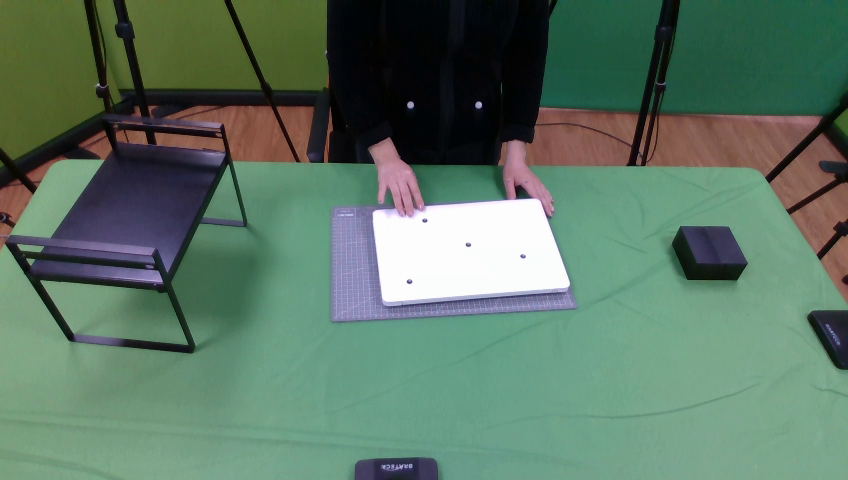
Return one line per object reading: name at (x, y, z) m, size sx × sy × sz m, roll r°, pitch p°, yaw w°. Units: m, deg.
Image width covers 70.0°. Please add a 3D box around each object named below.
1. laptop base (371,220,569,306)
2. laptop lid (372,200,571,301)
laptop base at (0.082, 0.027, 1.179) m, size 0.355 × 0.023 × 0.234 m, roll -4°, pitch 43°, yaw -8°
laptop lid at (0.084, 0.012, 1.165) m, size 0.357 × 0.013 × 0.240 m, roll -3°, pitch 48°, yaw -6°
